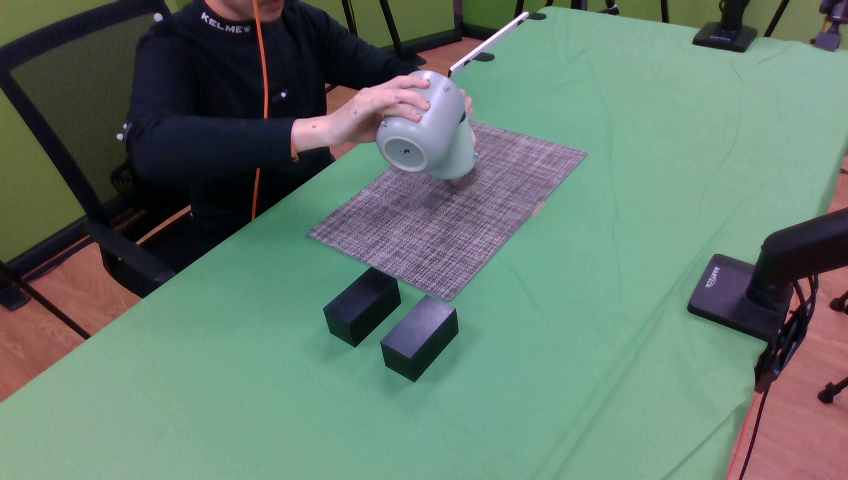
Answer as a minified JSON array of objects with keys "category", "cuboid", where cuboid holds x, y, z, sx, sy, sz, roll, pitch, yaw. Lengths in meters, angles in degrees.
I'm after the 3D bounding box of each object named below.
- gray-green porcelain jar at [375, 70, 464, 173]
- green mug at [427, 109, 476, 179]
[{"category":"gray-green porcelain jar","cuboid":[-0.008,-0.172,0.903,0.105,0.106,0.126,11,57,20]},{"category":"green mug","cuboid":[0.039,-0.178,1.041,0.092,0.105,0.124,-5,42,6]}]
